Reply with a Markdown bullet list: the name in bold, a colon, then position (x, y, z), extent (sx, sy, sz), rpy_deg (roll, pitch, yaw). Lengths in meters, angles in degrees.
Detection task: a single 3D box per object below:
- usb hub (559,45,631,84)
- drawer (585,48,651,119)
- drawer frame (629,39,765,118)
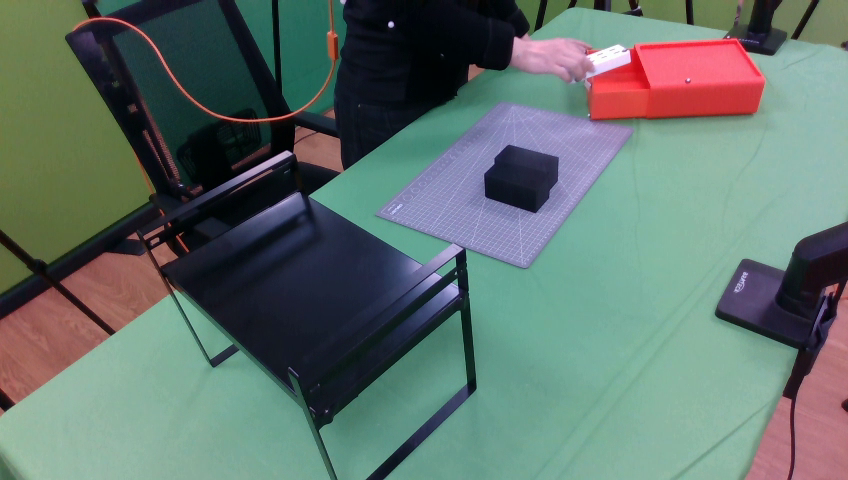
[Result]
- **usb hub**: position (0.324, -0.332, 1.145), extent (0.125, 0.025, 0.049), rpy_deg (-22, 36, -3)
- **drawer**: position (0.442, -0.329, 1.250), extent (0.211, 0.073, 0.194), rpy_deg (1, 41, 8)
- **drawer frame**: position (0.544, -0.332, 1.233), extent (0.213, 0.083, 0.201), rpy_deg (-1, 41, 6)
